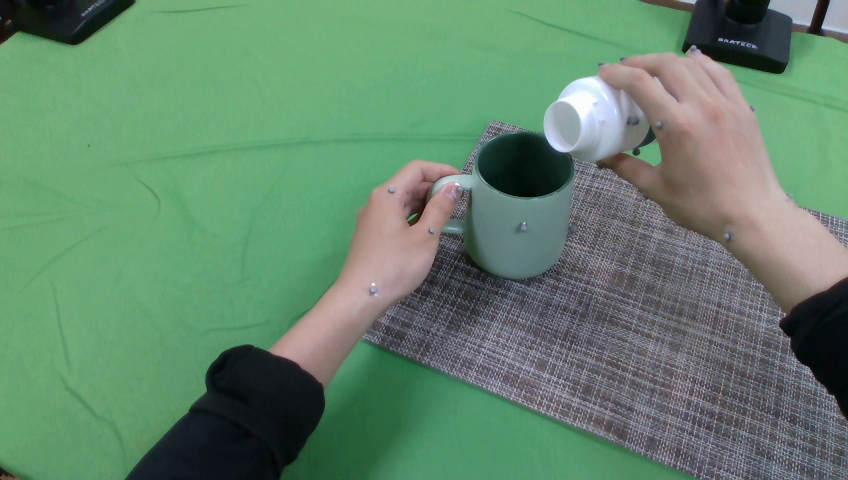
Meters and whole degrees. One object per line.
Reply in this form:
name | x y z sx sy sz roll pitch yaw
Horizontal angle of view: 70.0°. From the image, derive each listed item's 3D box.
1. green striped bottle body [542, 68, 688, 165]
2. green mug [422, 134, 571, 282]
green striped bottle body | 0.147 -0.097 0.475 0.119 0.063 0.062 -19 51 -32
green mug | 0.061 -0.024 0.517 0.125 0.106 0.091 -2 51 0
